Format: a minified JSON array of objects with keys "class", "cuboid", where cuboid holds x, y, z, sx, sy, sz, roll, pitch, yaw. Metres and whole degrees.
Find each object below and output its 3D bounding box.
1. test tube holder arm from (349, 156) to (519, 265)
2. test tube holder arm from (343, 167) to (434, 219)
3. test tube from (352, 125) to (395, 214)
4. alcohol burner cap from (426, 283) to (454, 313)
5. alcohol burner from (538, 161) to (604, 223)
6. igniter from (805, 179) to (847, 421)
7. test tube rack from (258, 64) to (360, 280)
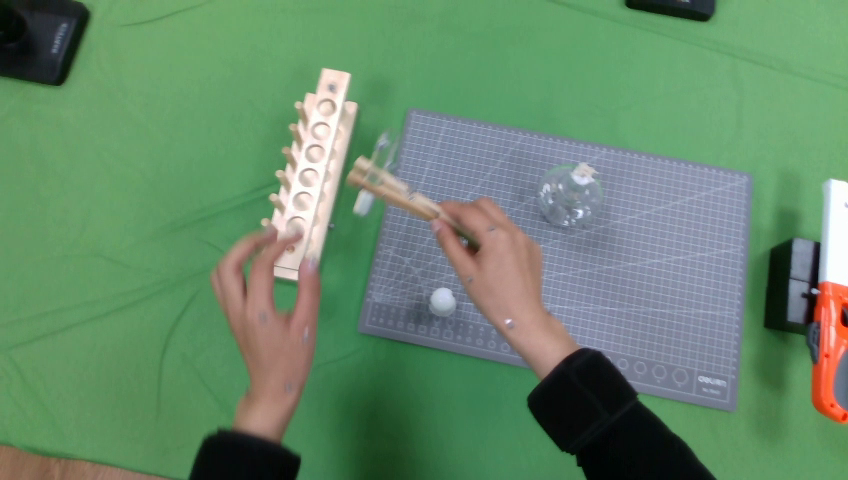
[{"class":"test tube holder arm","cuboid":[0.011,-0.026,0.556,0.179,0.015,0.013,30,70,-7]},{"class":"test tube holder arm","cuboid":[-0.031,-0.042,0.548,0.088,0.015,0.010,23,71,-9]},{"class":"test tube","cuboid":[-0.048,-0.058,0.541,0.017,0.150,0.017,5,68,-13]},{"class":"alcohol burner cap","cuboid":[0.020,0.065,0.707,0.034,0.048,0.033,1,74,-3]},{"class":"alcohol burner","cuboid":[0.174,-0.062,0.706,0.078,0.119,0.077,0,76,1]},{"class":"igniter","cuboid":[0.460,0.061,0.679,0.057,0.025,0.275,14,73,0]},{"class":"test tube rack","cuboid":[-0.141,-0.083,0.721,0.067,0.085,0.241,12,76,2]}]
